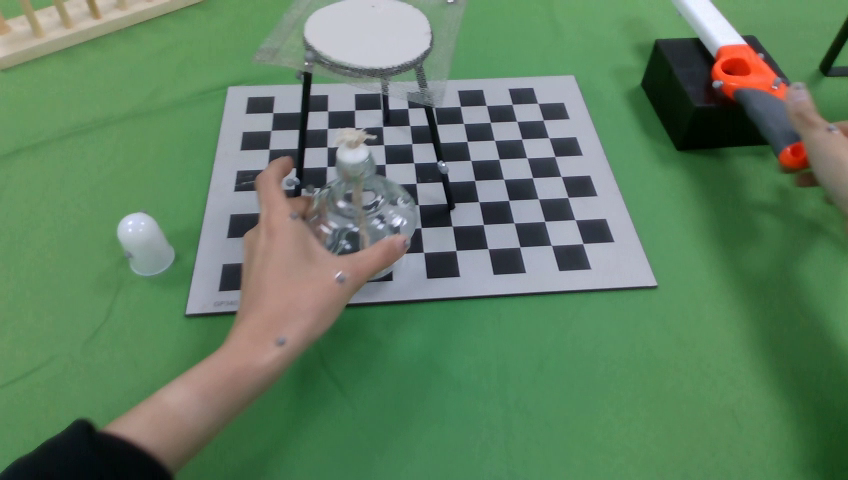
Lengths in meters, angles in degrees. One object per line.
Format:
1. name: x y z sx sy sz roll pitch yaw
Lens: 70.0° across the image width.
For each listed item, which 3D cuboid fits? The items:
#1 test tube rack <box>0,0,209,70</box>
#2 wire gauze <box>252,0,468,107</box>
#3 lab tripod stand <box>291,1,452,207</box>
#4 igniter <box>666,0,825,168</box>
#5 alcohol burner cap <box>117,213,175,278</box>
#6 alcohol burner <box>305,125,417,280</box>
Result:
1. test tube rack: -0.344 -0.271 0.630 0.242 0.086 0.066 -31 59 -24
2. wire gauze: -0.037 -0.140 0.411 0.125 0.011 0.120 11 51 5
3. lab tripod stand: -0.036 -0.100 0.465 0.148 0.132 0.147 2 50 -3
4. igniter: 0.274 -0.159 0.537 0.057 0.025 0.273 -5 49 -2
5. alcohol burner cap: -0.205 0.001 0.442 0.034 0.048 0.033 2 51 -2
6. alcohol burner: -0.044 -0.027 0.412 0.078 0.120 0.077 0 51 1
